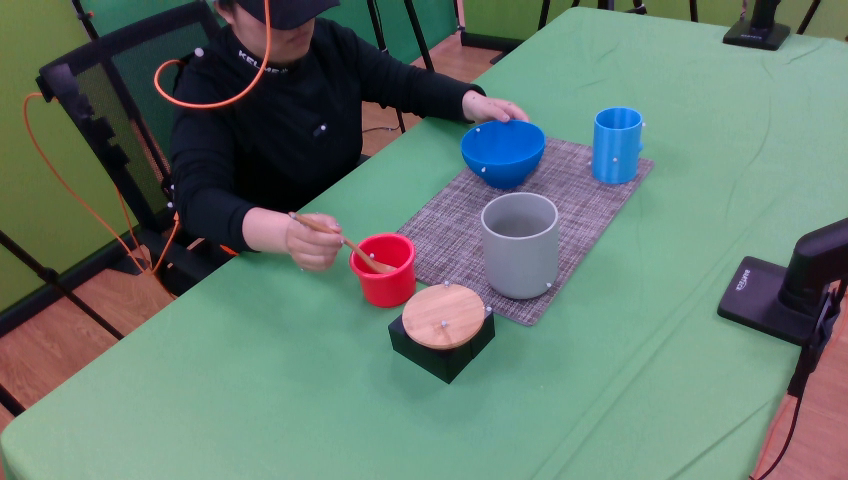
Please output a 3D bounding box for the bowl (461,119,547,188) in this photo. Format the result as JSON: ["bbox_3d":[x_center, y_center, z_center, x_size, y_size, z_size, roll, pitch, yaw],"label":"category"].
[{"bbox_3d":[0.144,-0.146,1.082,0.151,0.077,0.150,-6,40,5],"label":"bowl"}]

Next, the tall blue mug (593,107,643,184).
[{"bbox_3d":[0.330,-0.172,1.052,0.078,0.108,0.106,-12,40,0],"label":"tall blue mug"}]

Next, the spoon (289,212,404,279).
[{"bbox_3d":[-0.105,0.008,0.839,0.021,0.195,0.041,-49,32,8],"label":"spoon"}]

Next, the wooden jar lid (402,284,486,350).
[{"bbox_3d":[0.026,0.101,0.786,0.108,0.021,0.108,-5,39,4],"label":"wooden jar lid"}]

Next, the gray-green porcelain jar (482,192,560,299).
[{"bbox_3d":[0.139,0.012,0.858,0.106,0.127,0.105,-6,40,5],"label":"gray-green porcelain jar"}]
